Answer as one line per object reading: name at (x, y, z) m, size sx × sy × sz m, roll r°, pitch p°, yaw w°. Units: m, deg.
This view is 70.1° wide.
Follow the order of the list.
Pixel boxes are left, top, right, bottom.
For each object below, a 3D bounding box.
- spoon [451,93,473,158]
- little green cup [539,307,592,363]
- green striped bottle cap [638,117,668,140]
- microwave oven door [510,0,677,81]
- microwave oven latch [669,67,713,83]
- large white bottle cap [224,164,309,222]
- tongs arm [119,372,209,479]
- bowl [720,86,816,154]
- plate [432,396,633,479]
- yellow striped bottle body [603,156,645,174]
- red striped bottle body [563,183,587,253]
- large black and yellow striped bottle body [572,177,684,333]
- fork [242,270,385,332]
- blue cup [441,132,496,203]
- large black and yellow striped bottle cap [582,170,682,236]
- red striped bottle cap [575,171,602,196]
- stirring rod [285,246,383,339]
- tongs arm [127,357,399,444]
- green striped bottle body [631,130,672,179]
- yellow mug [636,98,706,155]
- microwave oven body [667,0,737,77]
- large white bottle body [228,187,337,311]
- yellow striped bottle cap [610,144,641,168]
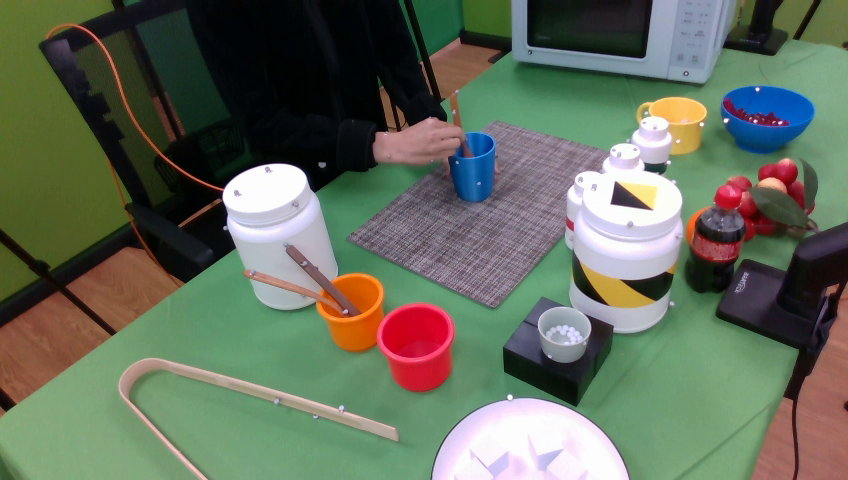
spoon at (0.068, -0.164, 1.005) m, size 0.042 × 0.195 × 0.021 m, roll -36°, pitch 45°, yaw -13°
little green cup at (0.168, 0.115, 0.721) m, size 0.061 × 0.039 × 0.061 m, roll -4°, pitch 42°, yaw 4°
green striped bottle cap at (0.369, -0.180, 0.974) m, size 0.044 × 0.020 × 0.044 m, roll -4°, pitch 41°, yaw 4°
microwave oven door at (0.354, -0.478, 1.290) m, size 0.353 × 0.245 × 0.039 m, roll 15°, pitch 45°, yaw 25°
microwave oven latch at (0.556, -0.348, 1.261) m, size 0.078 × 0.029 × 0.030 m, roll 16°, pitch 46°, yaw 27°
large white bottle cap at (-0.216, -0.066, 0.829) m, size 0.115 × 0.018 × 0.114 m, roll -4°, pitch 40°, yaw 4°
tongs arm at (-0.258, 0.257, 0.700) m, size 0.384 × 0.028 × 0.028 m, roll 24°, pitch 55°, yaw 34°
bowl at (0.605, -0.206, 1.081) m, size 0.151 × 0.077 × 0.150 m, roll -5°, pitch 40°, yaw 5°
plate at (0.112, 0.261, 0.634) m, size 0.209 × 0.038 × 0.208 m, roll -5°, pitch 40°, yaw 4°
yellow striped bottle body at (0.313, -0.089, 0.956) m, size 0.063 × 0.121 × 0.062 m, roll -4°, pitch 39°, yaw 4°
red striped bottle body at (0.246, -0.041, 0.910) m, size 0.063 × 0.120 × 0.062 m, roll -2°, pitch 38°, yaw 2°
large black and yellow striped bottle body at (0.262, 0.017, 0.788) m, size 0.131 × 0.185 × 0.130 m, roll -5°, pitch 40°, yaw 4°
fork at (-0.142, 0.082, 0.802) m, size 0.209 × 0.018 × 0.028 m, roll 28°, pitch 38°, yaw -26°
blue cup at (0.083, -0.121, 1.040) m, size 0.092 × 0.100 × 0.092 m, roll -5°, pitch 41°, yaw 5°
large black and yellow striped bottle cap at (0.252, -0.048, 0.735) m, size 0.115 × 0.019 × 0.114 m, roll -3°, pitch 40°, yaw 3°
red striped bottle cap at (0.242, -0.081, 0.876) m, size 0.044 × 0.018 × 0.044 m, roll -5°, pitch 44°, yaw 5°
stirring rod at (-0.121, 0.071, 0.819) m, size 0.176 × 0.006 × 0.014 m, roll 44°, pitch 52°, yaw -6°
tongs arm at (-0.213, 0.205, 0.755) m, size 0.382 × 0.026 × 0.051 m, roll 12°, pitch 46°, yaw 23°
green striped bottle body at (0.375, -0.140, 1.007) m, size 0.063 × 0.120 × 0.063 m, roll -5°, pitch 40°, yaw 5°
yellow mug at (0.453, -0.217, 1.128) m, size 0.100 × 0.064 × 0.129 m, roll -34°, pitch 46°, yaw -27°
microwave oven body at (0.462, -0.552, 1.368) m, size 0.439 × 0.261 × 0.326 m, roll 15°, pitch 45°, yaw 26°
large white bottle body at (-0.207, -0.002, 0.883) m, size 0.130 × 0.185 × 0.130 m, roll -4°, pitch 40°, yaw 4°
yellow striped bottle cap at (0.307, -0.128, 0.923) m, size 0.044 × 0.019 × 0.044 m, roll -6°, pitch 39°, yaw 5°
